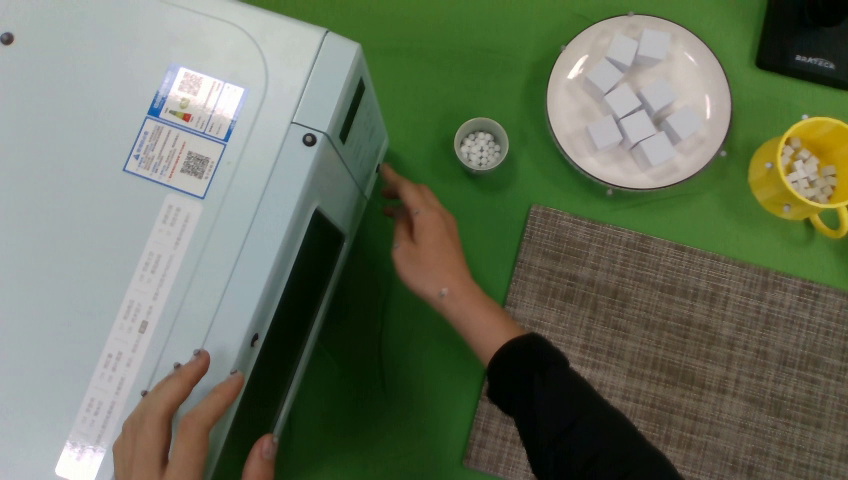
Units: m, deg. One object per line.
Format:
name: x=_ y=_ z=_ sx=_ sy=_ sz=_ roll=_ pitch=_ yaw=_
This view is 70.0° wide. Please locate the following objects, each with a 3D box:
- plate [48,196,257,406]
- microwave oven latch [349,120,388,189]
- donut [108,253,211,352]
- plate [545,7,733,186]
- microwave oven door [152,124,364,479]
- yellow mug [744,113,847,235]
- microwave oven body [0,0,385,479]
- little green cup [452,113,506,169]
plate: x=-0.270 y=0.061 z=0.618 sx=0.209 sy=0.038 sz=0.208 roll=0 pitch=83 yaw=2
microwave oven latch: x=-0.066 y=-0.099 z=0.675 sx=0.030 sy=0.029 sz=0.079 roll=23 pitch=85 yaw=4
donut: x=-0.261 y=0.062 z=0.602 sx=0.099 sy=0.048 sz=0.099 roll=0 pitch=86 yaw=-1
plate: x=0.242 y=-0.161 z=0.695 sx=0.207 sy=0.039 sz=0.207 roll=0 pitch=83 yaw=2
microwave oven door: x=-0.146 y=0.093 z=0.551 sx=0.039 sy=0.244 sz=0.355 roll=19 pitch=83 yaw=4
yellow mug: x=0.424 y=-0.068 z=0.664 sx=0.100 sy=0.064 sz=0.130 roll=-21 pitch=83 yaw=-2
microwave oven body: x=-0.268 y=0.006 z=0.570 sx=0.326 sy=0.261 sz=0.441 roll=19 pitch=84 yaw=4
little green cup: x=0.062 y=-0.110 z=0.691 sx=0.061 sy=0.039 sz=0.061 roll=0 pitch=85 yaw=2
